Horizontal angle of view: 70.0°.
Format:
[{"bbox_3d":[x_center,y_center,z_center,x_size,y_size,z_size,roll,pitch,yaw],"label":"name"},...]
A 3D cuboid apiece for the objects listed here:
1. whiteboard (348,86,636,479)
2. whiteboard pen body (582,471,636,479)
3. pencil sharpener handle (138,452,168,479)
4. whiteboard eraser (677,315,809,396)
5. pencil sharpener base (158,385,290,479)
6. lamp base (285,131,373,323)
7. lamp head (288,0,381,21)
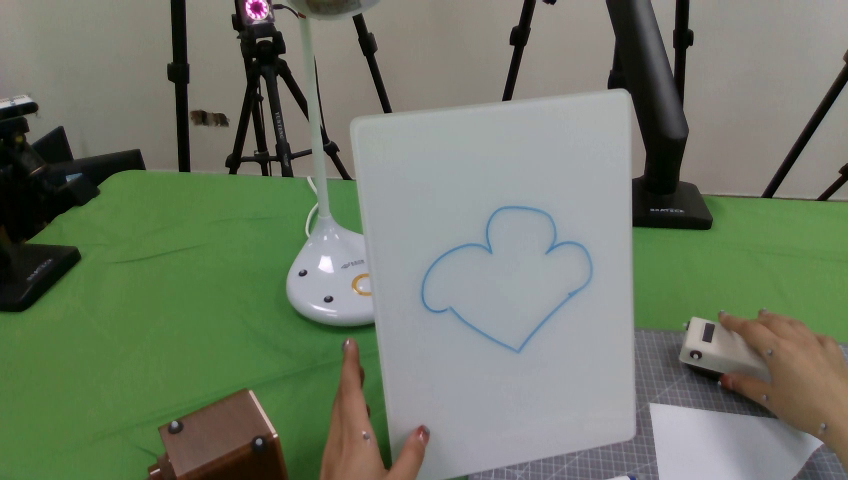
[{"bbox_3d":[0.055,0.030,0.544,0.217,0.306,0.143,-8,14,-9],"label":"whiteboard"},{"bbox_3d":[0.100,0.202,0.475,0.141,0.017,0.017,-8,34,-9],"label":"whiteboard pen body"},{"bbox_3d":[-0.188,0.183,0.420,0.031,0.068,0.035,-22,26,-27],"label":"pencil sharpener handle"},{"bbox_3d":[0.310,0.113,0.592,0.112,0.042,0.055,15,38,23],"label":"whiteboard eraser"},{"bbox_3d":[-0.147,0.176,0.453,0.077,0.108,0.060,-21,39,-27],"label":"pencil sharpener base"},{"bbox_3d":[-0.096,-0.024,0.692,0.161,0.182,0.177,-26,38,-32],"label":"lamp base"},{"bbox_3d":[-0.085,-0.259,0.495,0.113,0.113,0.122,-19,62,-24],"label":"lamp head"}]
